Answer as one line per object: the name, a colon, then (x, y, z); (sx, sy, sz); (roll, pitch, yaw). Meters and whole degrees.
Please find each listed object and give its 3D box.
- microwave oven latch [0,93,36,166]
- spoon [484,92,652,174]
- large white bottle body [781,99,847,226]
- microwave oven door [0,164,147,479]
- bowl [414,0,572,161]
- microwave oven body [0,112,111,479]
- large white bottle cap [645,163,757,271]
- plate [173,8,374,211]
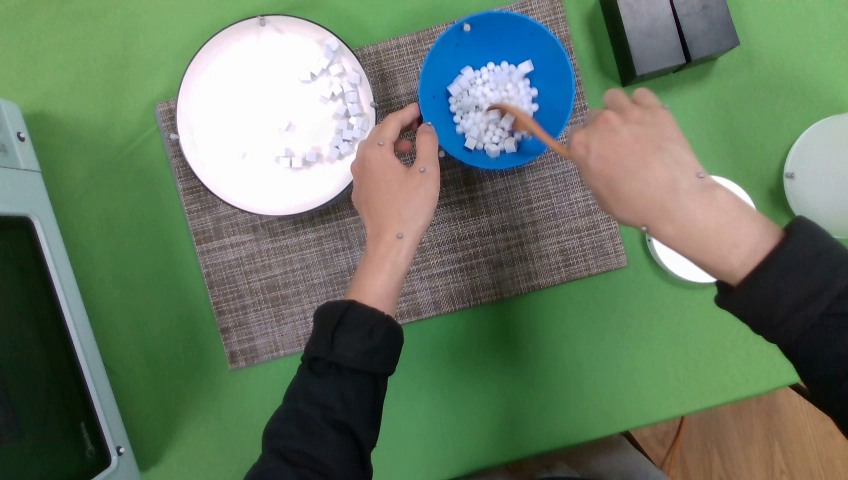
microwave oven latch: (-0.436, -0.113, 0.630); (0.030, 0.029, 0.079); (-18, 93, 2)
spoon: (0.123, -0.097, 0.549); (0.021, 0.042, 0.191); (-49, 50, 1)
large white bottle body: (0.439, -0.077, 0.556); (0.130, 0.184, 0.130); (0, 92, 2)
microwave oven door: (-0.375, 0.100, 0.539); (0.039, 0.243, 0.356); (-18, 92, 2)
bowl: (0.067, -0.152, 0.611); (0.151, 0.077, 0.151); (0, 93, 2)
microwave oven body: (-0.527, 0.104, 0.548); (0.326, 0.260, 0.442); (-18, 93, 2)
large white bottle cap: (0.296, -0.024, 0.646); (0.115, 0.018, 0.115); (0, 93, 0)
plate: (-0.154, -0.133, 0.637); (0.209, 0.038, 0.209); (0, 93, 1)
